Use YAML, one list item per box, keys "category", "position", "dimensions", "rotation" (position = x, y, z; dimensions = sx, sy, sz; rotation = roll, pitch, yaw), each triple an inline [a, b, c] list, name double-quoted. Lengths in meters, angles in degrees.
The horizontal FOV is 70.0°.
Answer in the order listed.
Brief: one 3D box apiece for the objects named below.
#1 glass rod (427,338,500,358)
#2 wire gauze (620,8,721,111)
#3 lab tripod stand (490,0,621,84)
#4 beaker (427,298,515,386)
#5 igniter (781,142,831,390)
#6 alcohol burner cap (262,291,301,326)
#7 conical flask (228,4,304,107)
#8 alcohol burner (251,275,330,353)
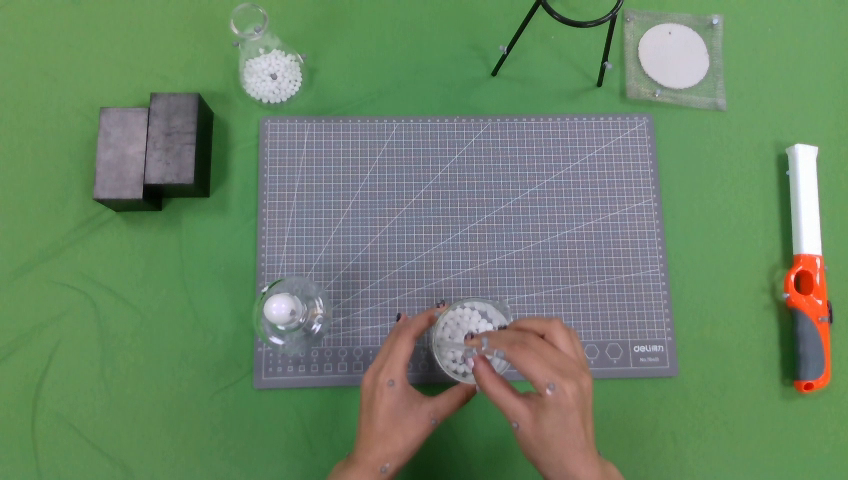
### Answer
- category: "glass rod"
  position: [0.028, 0.089, 0.511]
  dimensions: [0.008, 0.199, 0.008]
  rotation: [1, 83, -13]
- category: "wire gauze"
  position: [0.295, -0.218, 0.721]
  dimensions: [0.125, 0.011, 0.121]
  rotation: [5, 80, -4]
- category: "lab tripod stand"
  position: [0.146, -0.236, 0.654]
  dimensions: [0.148, 0.132, 0.148]
  rotation: [0, 81, -2]
- category: "beaker"
  position: [0.042, 0.092, 0.571]
  dimensions: [0.074, 0.100, 0.084]
  rotation: [41, 81, 3]
- category: "igniter"
  position: [0.421, 0.025, 0.671]
  dimensions: [0.057, 0.025, 0.275]
  rotation: [6, 79, -12]
- category: "alcohol burner cap"
  position: [-0.132, 0.062, 0.555]
  dimensions: [0.034, 0.048, 0.034]
  rotation: [1, 83, -6]
- category: "conical flask"
  position: [-0.172, -0.198, 0.638]
  dimensions: [0.075, 0.122, 0.075]
  rotation: [0, 78, -2]
- category: "alcohol burner"
  position: [-0.134, 0.070, 0.590]
  dimensions: [0.078, 0.119, 0.077]
  rotation: [0, 78, 0]
